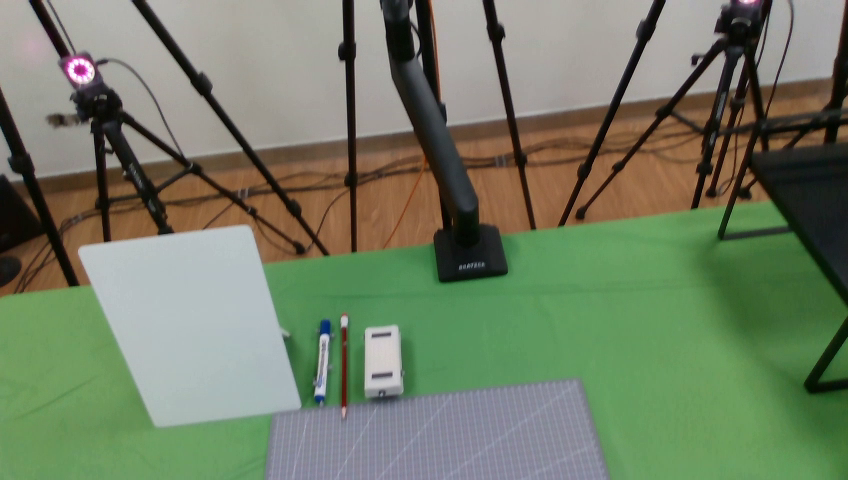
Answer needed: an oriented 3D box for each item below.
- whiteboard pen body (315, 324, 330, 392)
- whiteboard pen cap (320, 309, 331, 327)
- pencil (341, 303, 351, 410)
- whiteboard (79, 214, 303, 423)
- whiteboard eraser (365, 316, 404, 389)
[{"bbox_3d":[-0.155,0.170,0.933,0.017,0.017,0.139,-6,46,2],"label":"whiteboard pen body"},{"bbox_3d":[-0.158,0.128,0.972,0.018,0.018,0.033,-8,45,0],"label":"whiteboard pen cap"},{"bbox_3d":[-0.120,0.174,0.929,0.012,0.012,0.192,-9,47,-1],"label":"pencil"},{"bbox_3d":[-0.304,0.087,0.874,0.217,0.308,0.142,-7,27,1],"label":"whiteboard"},{"bbox_3d":[-0.061,0.168,0.907,0.055,0.042,0.111,-8,47,2],"label":"whiteboard eraser"}]
